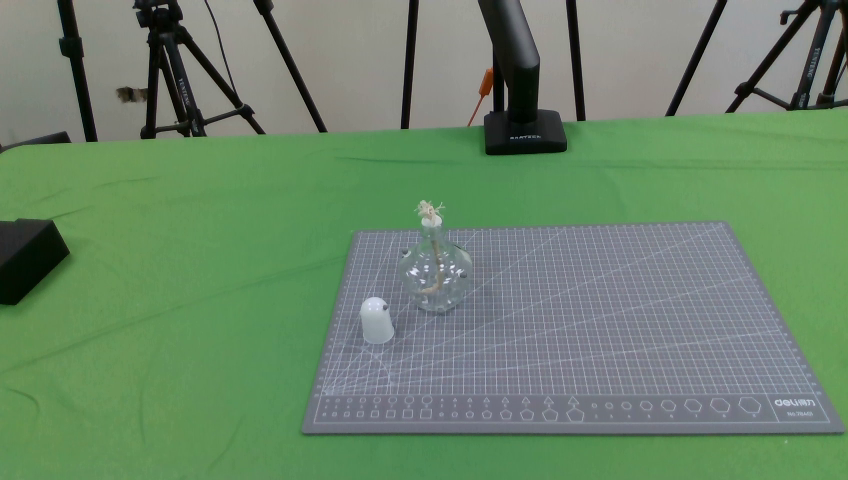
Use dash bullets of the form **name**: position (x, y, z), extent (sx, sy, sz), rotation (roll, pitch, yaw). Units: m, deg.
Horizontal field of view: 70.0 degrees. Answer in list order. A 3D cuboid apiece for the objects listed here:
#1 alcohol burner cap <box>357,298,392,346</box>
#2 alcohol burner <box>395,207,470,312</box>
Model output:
- **alcohol burner cap**: position (-0.050, 0.078, 0.600), extent (0.034, 0.048, 0.033), rotation (-3, 38, 3)
- **alcohol burner**: position (0.008, 0.015, 0.617), extent (0.078, 0.120, 0.077), rotation (-2, 38, 2)
